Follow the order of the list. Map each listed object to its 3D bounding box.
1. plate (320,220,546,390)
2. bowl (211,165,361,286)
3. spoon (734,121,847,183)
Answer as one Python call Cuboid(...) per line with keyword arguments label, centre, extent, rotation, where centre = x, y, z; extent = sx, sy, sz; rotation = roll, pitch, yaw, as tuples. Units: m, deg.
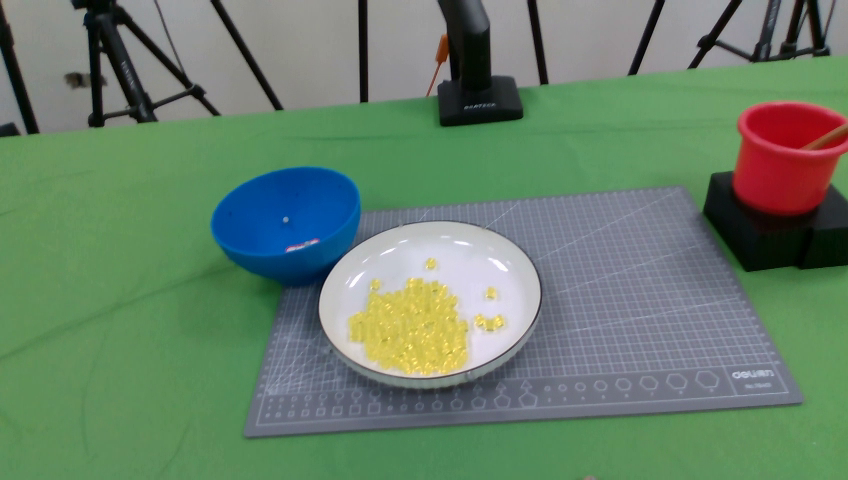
Cuboid(label="plate", centre=(0.009, 0.058, 0.569), extent=(0.207, 0.039, 0.205), rotation=(-4, 40, 4))
Cuboid(label="bowl", centre=(-0.135, -0.005, 0.634), extent=(0.151, 0.077, 0.150), rotation=(-4, 40, 4))
Cuboid(label="spoon", centre=(0.373, -0.095, 0.537), extent=(0.193, 0.022, 0.041), rotation=(-33, 12, 46))
